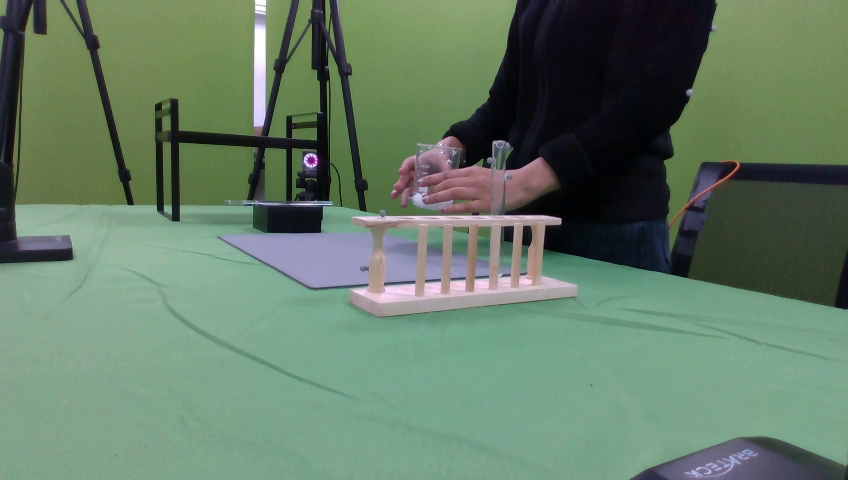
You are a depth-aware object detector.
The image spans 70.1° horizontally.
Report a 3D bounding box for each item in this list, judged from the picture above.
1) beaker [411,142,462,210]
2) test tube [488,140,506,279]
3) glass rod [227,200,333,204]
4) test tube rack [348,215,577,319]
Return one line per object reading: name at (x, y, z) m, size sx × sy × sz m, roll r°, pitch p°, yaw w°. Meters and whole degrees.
beaker at (0.020, -0.102, 0.965) m, size 0.073 × 0.100 × 0.084 m, roll 16°, pitch 14°, yaw 41°
test tube at (0.079, -0.032, 0.653) m, size 0.017 × 0.150 × 0.017 m, roll 1°, pitch 2°, yaw 0°
glass rod at (-0.268, -0.071, 1.142) m, size 0.201 × 0.008 × 0.008 m, roll -1°, pitch 8°, yaw -29°
test tube rack at (0.048, 0.021, 0.619) m, size 0.244 × 0.085 × 0.066 m, roll -2°, pitch 9°, yaw -31°
